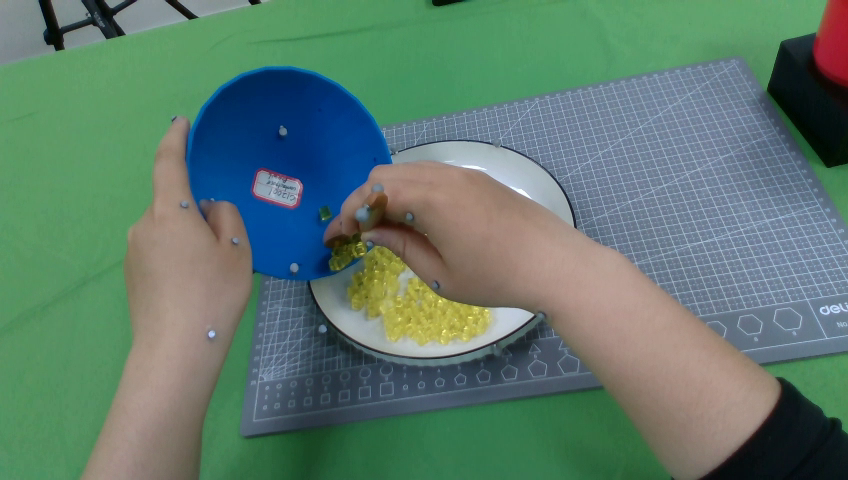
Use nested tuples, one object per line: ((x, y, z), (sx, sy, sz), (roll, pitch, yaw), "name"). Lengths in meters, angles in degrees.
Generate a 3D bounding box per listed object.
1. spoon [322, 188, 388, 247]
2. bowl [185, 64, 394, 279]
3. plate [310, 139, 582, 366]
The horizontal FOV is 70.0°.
((-0.039, -0.012, 0.364), (0.041, 0.193, 0.022), (-35, 97, -13), "spoon")
((-0.106, -0.044, 0.451), (0.151, 0.152, 0.076), (-53, 23, -25), "bowl")
((0.015, 0.006, 0.471), (0.207, 0.039, 0.205), (-7, 52, 9), "plate")
